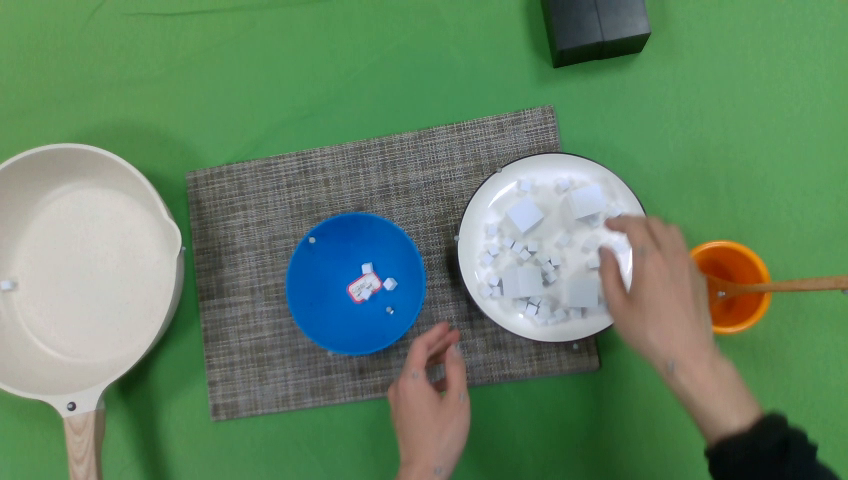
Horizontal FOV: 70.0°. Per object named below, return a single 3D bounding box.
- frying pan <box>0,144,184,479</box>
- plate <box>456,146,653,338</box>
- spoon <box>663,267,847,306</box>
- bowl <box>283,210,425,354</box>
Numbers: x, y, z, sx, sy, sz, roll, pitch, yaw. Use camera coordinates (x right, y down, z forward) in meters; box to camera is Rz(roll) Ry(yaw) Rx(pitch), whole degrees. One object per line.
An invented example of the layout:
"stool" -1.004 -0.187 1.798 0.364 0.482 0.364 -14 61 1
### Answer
"frying pan" -0.393 0.134 0.685 0.307 0.103 0.484 -14 74 6
"plate" 0.140 0.002 0.665 0.207 0.039 0.207 -1 84 7
"spoon" 0.326 0.041 0.587 0.022 0.193 0.041 0 83 -38
"bowl" -0.069 0.047 0.665 0.151 0.077 0.151 -1 84 7
